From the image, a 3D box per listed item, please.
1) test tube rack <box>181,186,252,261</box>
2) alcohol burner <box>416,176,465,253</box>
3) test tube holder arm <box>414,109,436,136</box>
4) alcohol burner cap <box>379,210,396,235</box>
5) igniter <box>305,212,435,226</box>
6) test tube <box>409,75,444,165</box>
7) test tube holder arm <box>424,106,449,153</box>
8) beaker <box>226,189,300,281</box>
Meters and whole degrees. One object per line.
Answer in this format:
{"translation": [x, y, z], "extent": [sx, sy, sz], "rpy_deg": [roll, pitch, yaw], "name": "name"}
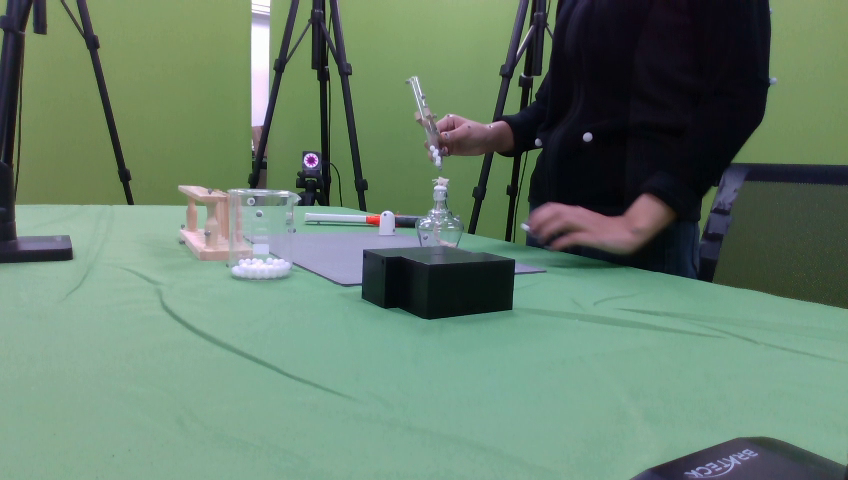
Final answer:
{"translation": [-0.312, -0.031, 0.893], "extent": [0.067, 0.085, 0.241], "rpy_deg": [-1, 8, -27], "name": "test tube rack"}
{"translation": [0.025, -0.040, 0.935], "extent": [0.078, 0.119, 0.078], "rpy_deg": [1, 6, 0], "name": "alcohol burner"}
{"translation": [0.006, -0.186, 0.962], "extent": [0.010, 0.015, 0.088], "rpy_deg": [-21, -15, 17], "name": "test tube holder arm"}
{"translation": [-0.067, -0.033, 1.129], "extent": [0.034, 0.048, 0.034], "rpy_deg": [1, 7, 0], "name": "alcohol burner cap"}
{"translation": [-0.114, -0.046, 1.296], "extent": [0.277, 0.025, 0.057], "rpy_deg": [1, -2, -11], "name": "igniter"}
{"translation": [0.004, -0.187, 0.939], "extent": [0.017, 0.150, 0.017], "rpy_deg": [-16, -10, -2], "name": "test tube"}
{"translation": [0.023, -0.180, 1.004], "extent": [0.013, 0.015, 0.179], "rpy_deg": [-18, -15, 9], "name": "test tube holder arm"}
{"translation": [-0.184, -0.007, 0.694], "extent": [0.084, 0.100, 0.073], "rpy_deg": [-1, 8, -29], "name": "beaker"}
